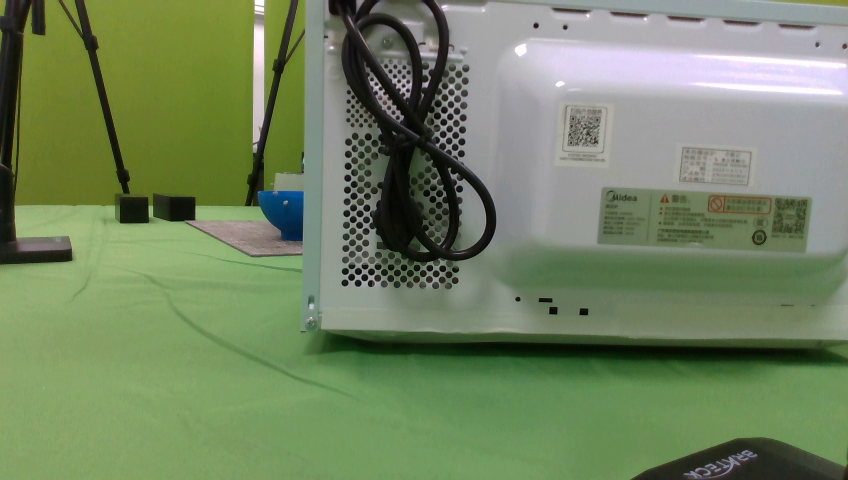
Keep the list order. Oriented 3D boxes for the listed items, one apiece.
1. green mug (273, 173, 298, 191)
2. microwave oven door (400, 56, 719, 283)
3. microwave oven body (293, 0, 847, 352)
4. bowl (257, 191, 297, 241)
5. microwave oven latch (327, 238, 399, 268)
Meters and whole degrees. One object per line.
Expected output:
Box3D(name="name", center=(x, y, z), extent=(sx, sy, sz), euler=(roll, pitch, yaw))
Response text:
Box3D(name="green mug", center=(-0.264, -0.084, 1.236), extent=(0.093, 0.105, 0.125), euler=(0, 8, -13))
Box3D(name="microwave oven door", center=(0.155, -0.077, 0.698), extent=(0.356, 0.243, 0.039), euler=(2, 8, -5))
Box3D(name="microwave oven body", center=(0.122, -0.055, 0.550), extent=(0.442, 0.260, 0.325), euler=(3, 7, -5))
Box3D(name="bowl", center=(-0.206, -0.041, 1.027), extent=(0.151, 0.077, 0.151), euler=(3, 8, 0))
Box3D(name="microwave oven latch", center=(-0.069, 0.015, 0.694), extent=(0.079, 0.029, 0.030), euler=(3, 7, -3))
